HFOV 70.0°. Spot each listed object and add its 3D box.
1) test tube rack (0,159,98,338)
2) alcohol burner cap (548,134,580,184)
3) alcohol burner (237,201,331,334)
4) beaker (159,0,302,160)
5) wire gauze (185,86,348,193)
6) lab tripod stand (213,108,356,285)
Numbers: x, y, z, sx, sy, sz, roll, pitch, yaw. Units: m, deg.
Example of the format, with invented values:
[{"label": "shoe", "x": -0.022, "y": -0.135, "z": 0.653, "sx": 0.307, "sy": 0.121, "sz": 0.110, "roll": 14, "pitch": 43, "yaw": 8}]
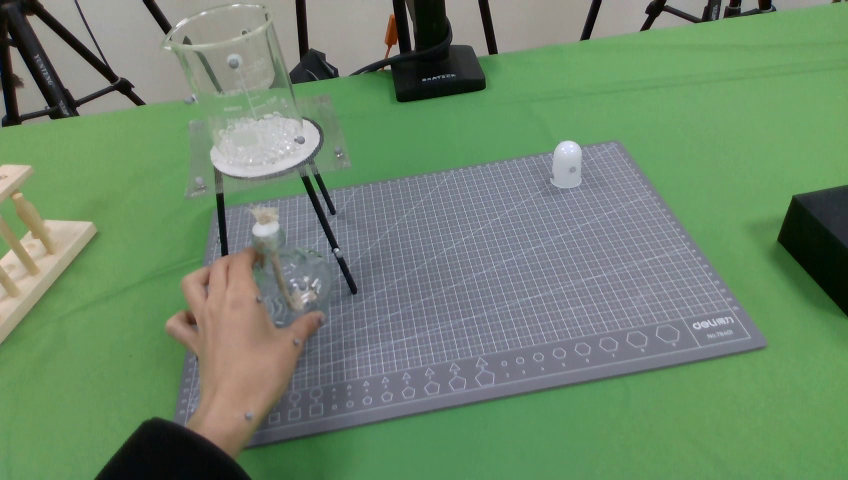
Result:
[{"label": "test tube rack", "x": -0.406, "y": 0.033, "z": 0.539, "sx": 0.066, "sy": 0.086, "sz": 0.240, "roll": 3, "pitch": 43, "yaw": 11}, {"label": "alcohol burner cap", "x": 0.143, "y": -0.085, "z": 0.617, "sx": 0.034, "sy": 0.048, "sz": 0.033, "roll": -5, "pitch": 42, "yaw": 4}, {"label": "alcohol burner", "x": -0.116, "y": 0.019, "z": 0.486, "sx": 0.078, "sy": 0.120, "sz": 0.077, "roll": -5, "pitch": 41, "yaw": 5}, {"label": "beaker", "x": -0.139, "y": -0.118, "z": 0.454, "sx": 0.084, "sy": 0.101, "sz": 0.073, "roll": -14, "pitch": 42, "yaw": -6}, {"label": "wire gauze", "x": -0.130, "y": -0.082, "z": 0.487, "sx": 0.125, "sy": 0.011, "sz": 0.120, "roll": -16, "pitch": 41, "yaw": -5}, {"label": "lab tripod stand", "x": -0.123, "y": -0.035, "z": 0.531, "sx": 0.148, "sy": 0.133, "sz": 0.147, "roll": -4, "pitch": 44, "yaw": 5}]
